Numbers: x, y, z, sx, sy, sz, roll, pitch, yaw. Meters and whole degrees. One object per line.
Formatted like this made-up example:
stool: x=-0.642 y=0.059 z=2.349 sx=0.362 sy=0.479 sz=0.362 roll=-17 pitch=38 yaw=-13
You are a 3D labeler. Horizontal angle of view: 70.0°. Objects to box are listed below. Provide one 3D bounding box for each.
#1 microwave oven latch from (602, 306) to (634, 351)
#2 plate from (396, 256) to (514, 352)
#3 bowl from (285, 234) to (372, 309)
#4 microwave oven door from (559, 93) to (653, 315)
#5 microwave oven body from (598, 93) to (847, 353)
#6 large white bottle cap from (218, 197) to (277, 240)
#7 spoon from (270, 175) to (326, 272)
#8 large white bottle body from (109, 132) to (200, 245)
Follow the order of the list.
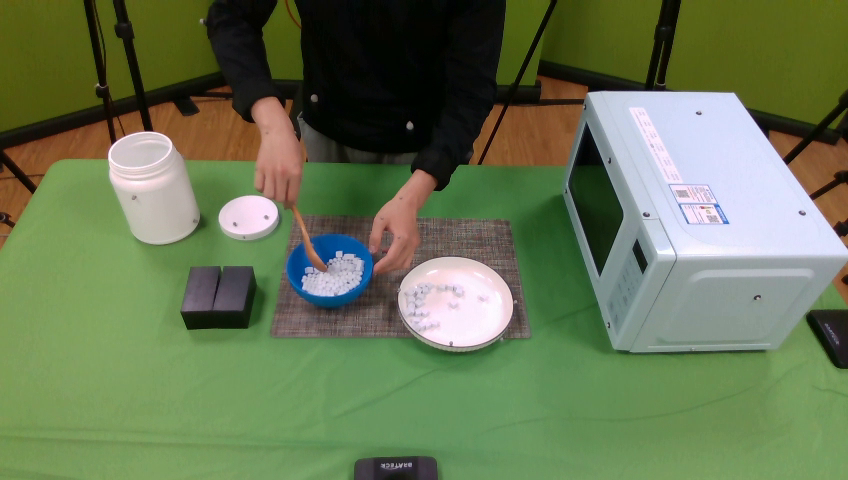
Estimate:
microwave oven latch: x=0.332 y=0.153 z=1.044 sx=0.030 sy=0.029 sz=0.078 roll=0 pitch=45 yaw=-4
plate: x=0.053 y=0.116 z=1.077 sx=0.209 sy=0.038 sz=0.208 roll=2 pitch=46 yaw=-2
bowl: x=-0.168 y=0.069 z=1.078 sx=0.151 sy=0.077 sz=0.150 roll=3 pitch=45 yaw=-3
microwave oven door: x=0.327 y=-0.074 z=1.123 sx=0.039 sy=0.245 sz=0.353 roll=-1 pitch=46 yaw=-5
microwave oven body: x=0.475 y=-0.041 z=1.109 sx=0.326 sy=0.261 sz=0.438 roll=-1 pitch=45 yaw=-4
large white bottle cap: x=-0.354 y=-0.045 z=1.220 sx=0.115 sy=0.018 sz=0.114 roll=2 pitch=45 yaw=-2
spoon: x=-0.222 y=-0.029 z=1.061 sx=0.021 sy=0.041 sz=0.193 roll=-24 pitch=84 yaw=-26
large white bottle body: x=-0.506 y=-0.097 z=1.141 sx=0.131 sy=0.185 sz=0.130 roll=2 pitch=46 yaw=-2
